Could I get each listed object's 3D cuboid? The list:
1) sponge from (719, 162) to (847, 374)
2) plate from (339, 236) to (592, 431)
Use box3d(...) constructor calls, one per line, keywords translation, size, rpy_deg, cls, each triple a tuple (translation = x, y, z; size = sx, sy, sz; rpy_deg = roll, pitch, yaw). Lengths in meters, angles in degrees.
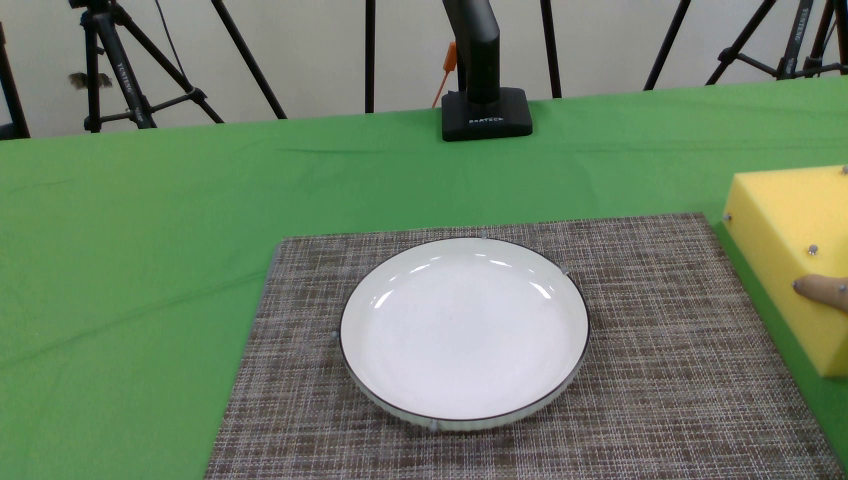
box3d(translation=(0.362, 0.015, 0.529), size=(0.118, 0.061, 0.204), rpy_deg=(-5, 39, 2), cls="sponge")
box3d(translation=(0.034, 0.075, 0.513), size=(0.207, 0.039, 0.205), rpy_deg=(-4, 39, 3), cls="plate")
